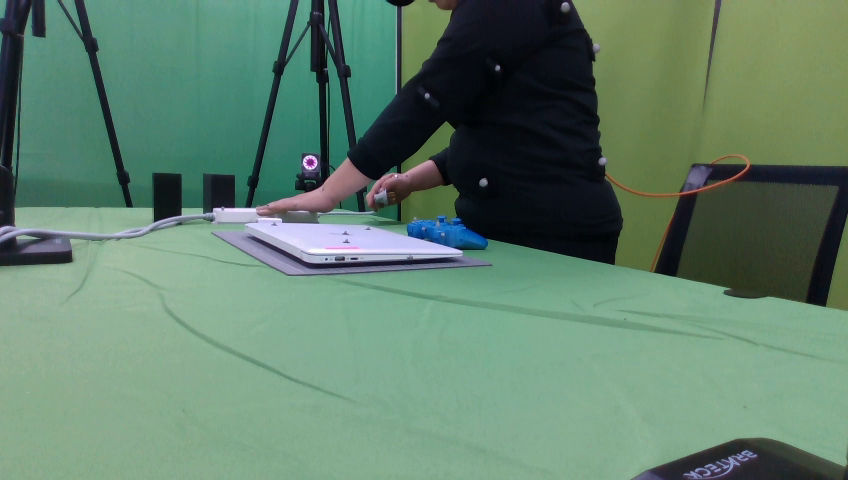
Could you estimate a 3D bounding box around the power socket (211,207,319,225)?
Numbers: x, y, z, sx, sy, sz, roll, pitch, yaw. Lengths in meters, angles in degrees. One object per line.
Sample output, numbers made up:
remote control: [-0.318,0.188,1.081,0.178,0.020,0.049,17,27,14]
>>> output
power socket: [-0.335,-0.051,1.282,0.228,0.032,0.072,-1,10,-29]

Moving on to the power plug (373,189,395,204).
power plug: [-0.093,-0.102,1.407,0.053,0.035,0.072,-3,6,-3]

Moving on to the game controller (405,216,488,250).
game controller: [0.034,-0.013,1.067,0.097,0.051,0.154,-6,10,-29]

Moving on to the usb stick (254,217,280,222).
usb stick: [-0.296,-0.028,1.114,0.059,0.027,0.021,-5,12,-30]

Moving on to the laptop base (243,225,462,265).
laptop base: [-0.129,0.007,0.951,0.237,0.023,0.352,2,6,-30]

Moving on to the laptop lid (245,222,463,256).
laptop lid: [-0.126,-0.005,0.951,0.243,0.013,0.355,1,7,-28]
